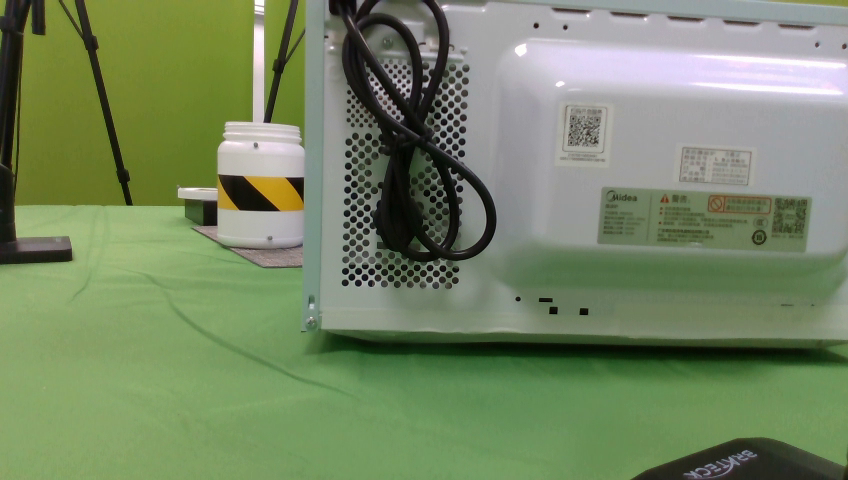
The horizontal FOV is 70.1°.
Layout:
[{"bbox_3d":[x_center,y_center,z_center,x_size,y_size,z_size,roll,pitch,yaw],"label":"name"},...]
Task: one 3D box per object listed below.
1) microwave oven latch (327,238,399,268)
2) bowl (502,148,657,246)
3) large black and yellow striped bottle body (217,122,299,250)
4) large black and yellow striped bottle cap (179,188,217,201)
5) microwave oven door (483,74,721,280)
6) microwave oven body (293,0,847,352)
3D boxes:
[{"bbox_3d":[-0.069,0.015,0.694,0.079,0.029,0.030,3,7,-3],"label":"microwave oven latch"},{"bbox_3d":[0.153,-0.036,0.608,0.151,0.076,0.151,4,-5,1],"label":"bowl"},{"bbox_3d":[-0.250,-0.084,0.931,0.131,0.184,0.130,2,7,0],"label":"large black and yellow striped bottle body"},{"bbox_3d":[-0.434,-0.093,1.226,0.115,0.019,0.115,3,9,0],"label":"large black and yellow striped bottle cap"},{"bbox_3d":[0.221,-0.093,0.843,0.039,0.243,0.354,-3,9,-38],"label":"microwave oven door"},{"bbox_3d":[0.122,-0.055,0.550,0.442,0.260,0.325,3,7,-5],"label":"microwave oven body"}]
